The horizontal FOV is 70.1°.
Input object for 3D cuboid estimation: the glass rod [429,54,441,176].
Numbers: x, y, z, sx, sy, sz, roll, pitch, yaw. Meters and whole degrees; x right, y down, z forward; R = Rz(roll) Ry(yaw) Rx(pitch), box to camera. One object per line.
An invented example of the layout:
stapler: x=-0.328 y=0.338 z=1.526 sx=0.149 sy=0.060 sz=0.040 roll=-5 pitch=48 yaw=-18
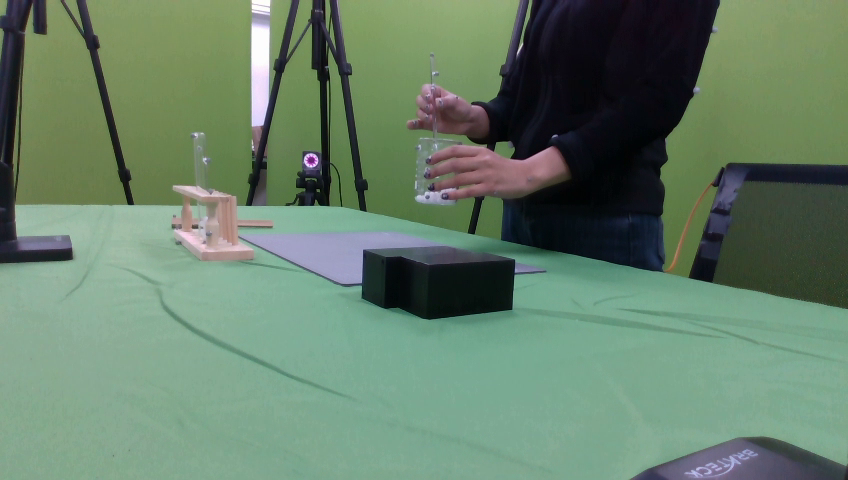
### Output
glass rod: x=0.018 y=-0.200 z=0.967 sx=0.008 sy=0.199 sz=0.008 roll=-4 pitch=-6 yaw=0

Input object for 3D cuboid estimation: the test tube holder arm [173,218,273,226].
test tube holder arm: x=-0.371 y=-0.033 z=1.128 sx=0.179 sy=0.015 sz=0.013 roll=-1 pitch=-22 yaw=-26

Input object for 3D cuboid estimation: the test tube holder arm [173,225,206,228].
test tube holder arm: x=-0.415 y=-0.030 z=1.113 sx=0.088 sy=0.015 sz=0.010 roll=-1 pitch=-22 yaw=-25

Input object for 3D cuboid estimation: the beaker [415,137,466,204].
beaker: x=0.022 y=-0.108 z=0.947 sx=0.074 sy=0.100 sz=0.083 roll=2 pitch=7 yaw=-18

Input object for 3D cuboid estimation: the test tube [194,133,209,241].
test tube: x=-0.307 y=-0.074 z=0.842 sx=0.017 sy=0.150 sz=0.017 roll=-3 pitch=2 yaw=0

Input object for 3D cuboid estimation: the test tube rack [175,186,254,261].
test tube rack: x=-0.314 y=-0.031 z=0.889 sx=0.067 sy=0.085 sz=0.241 roll=-2 pitch=8 yaw=-30
